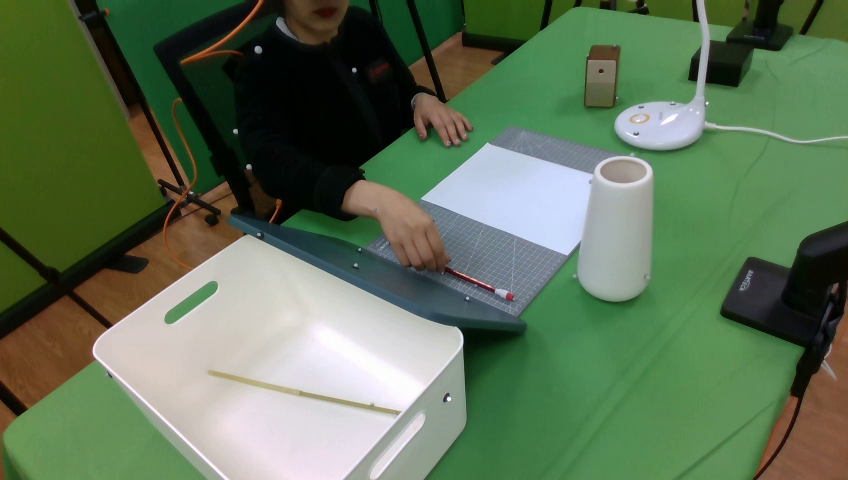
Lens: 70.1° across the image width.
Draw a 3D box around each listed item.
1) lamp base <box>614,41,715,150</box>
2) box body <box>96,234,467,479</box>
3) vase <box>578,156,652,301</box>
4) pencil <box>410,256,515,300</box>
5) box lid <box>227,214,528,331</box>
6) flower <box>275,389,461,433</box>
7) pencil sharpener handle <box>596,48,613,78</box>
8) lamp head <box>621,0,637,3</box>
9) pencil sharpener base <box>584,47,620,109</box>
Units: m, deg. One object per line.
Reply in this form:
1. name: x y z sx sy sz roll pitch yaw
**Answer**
1. lamp base: 0.449 -0.277 1.106 0.179 0.181 0.160 1 41 9
2. box body: -0.155 0.169 0.707 0.361 0.161 0.255 23 49 33
3. vase: 0.261 -0.011 0.812 0.098 0.201 0.097 -4 40 4
4. pencil: 0.054 0.054 0.918 0.192 0.012 0.012 21 48 33
5. box lid: -0.062 0.044 0.813 0.368 0.265 0.015 22 93 32
6. flower: -0.122 0.202 0.770 0.360 0.038 0.044 2 78 22
7. pencil sharpener handle: 0.383 -0.378 1.276 0.036 0.068 0.030 2 41 22
8. lamp head: 0.319 -0.453 0.962 0.113 0.123 0.112 20 33 -13
9. pencil sharpener base: 0.367 -0.336 1.248 0.061 0.107 0.076 6 42 19
